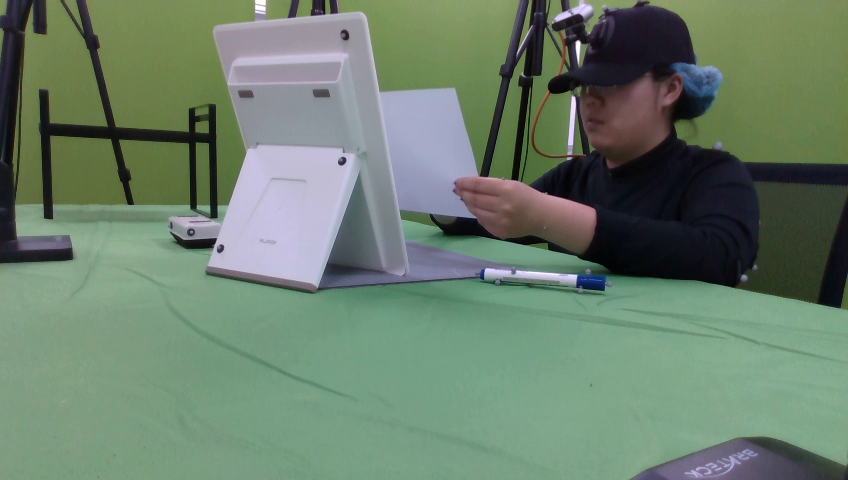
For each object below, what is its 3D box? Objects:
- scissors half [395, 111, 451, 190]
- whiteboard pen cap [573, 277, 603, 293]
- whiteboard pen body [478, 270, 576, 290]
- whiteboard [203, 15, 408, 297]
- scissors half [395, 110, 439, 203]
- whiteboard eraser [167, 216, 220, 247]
[{"bbox_3d":[-0.002,-0.147,0.993,0.012,0.040,0.176,18,-23,46],"label":"scissors half"},{"bbox_3d":[0.186,0.051,0.687,0.033,0.018,0.018,4,8,17],"label":"whiteboard pen cap"},{"bbox_3d":[0.131,0.048,0.706,0.140,0.017,0.017,4,7,18],"label":"whiteboard pen body"},{"bbox_3d":[-0.166,-0.072,0.668,0.216,0.305,0.144,8,30,30],"label":"whiteboard"},{"bbox_3d":[-0.014,-0.132,0.985,0.013,0.175,0.040,12,44,44],"label":"scissors half"},{"bbox_3d":[-0.350,-0.013,0.920,0.056,0.042,0.112,0,7,-35],"label":"whiteboard eraser"}]
